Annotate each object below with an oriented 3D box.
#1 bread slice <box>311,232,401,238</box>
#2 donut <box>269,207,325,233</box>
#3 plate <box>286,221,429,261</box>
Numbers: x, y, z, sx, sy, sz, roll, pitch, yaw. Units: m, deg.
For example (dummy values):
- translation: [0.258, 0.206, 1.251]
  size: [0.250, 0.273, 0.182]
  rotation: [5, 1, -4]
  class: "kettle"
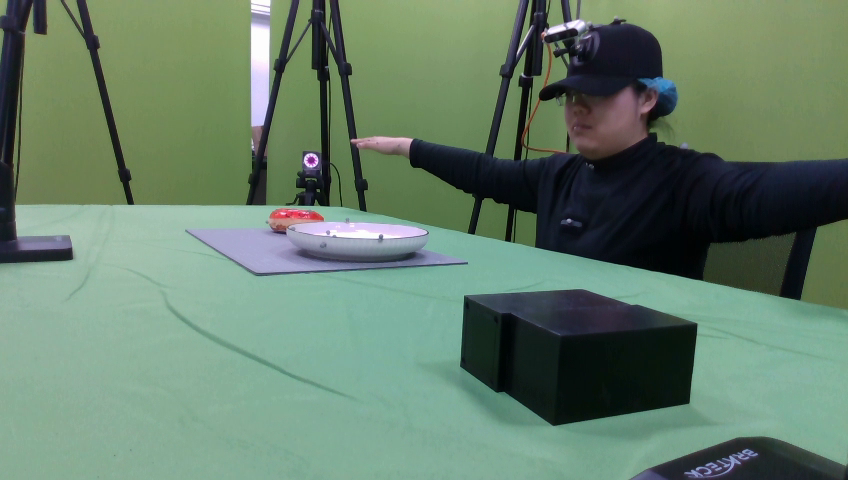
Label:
- translation: [-0.101, 0.002, 0.885]
  size: [0.135, 0.018, 0.106]
  rotation: [-3, 8, -38]
  class: "bread slice"
- translation: [-0.230, -0.036, 1.098]
  size: [0.099, 0.048, 0.099]
  rotation: [3, 5, 0]
  class: "donut"
- translation: [-0.096, 0.001, 0.886]
  size: [0.209, 0.038, 0.209]
  rotation: [2, 7, 0]
  class: "plate"
